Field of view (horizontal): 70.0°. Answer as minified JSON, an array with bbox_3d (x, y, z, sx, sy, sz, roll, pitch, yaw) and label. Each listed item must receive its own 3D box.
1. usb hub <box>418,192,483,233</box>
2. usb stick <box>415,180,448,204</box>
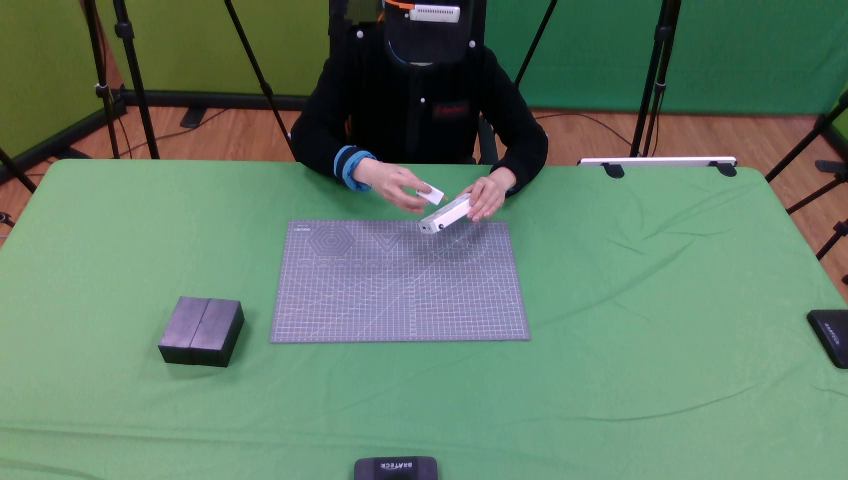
[{"bbox_3d":[0.051,-0.053,1.151,0.125,0.025,0.049,-32,20,-25],"label":"usb hub"},{"bbox_3d":[0.016,-0.085,1.112,0.059,0.027,0.021,25,8,-19],"label":"usb stick"}]
